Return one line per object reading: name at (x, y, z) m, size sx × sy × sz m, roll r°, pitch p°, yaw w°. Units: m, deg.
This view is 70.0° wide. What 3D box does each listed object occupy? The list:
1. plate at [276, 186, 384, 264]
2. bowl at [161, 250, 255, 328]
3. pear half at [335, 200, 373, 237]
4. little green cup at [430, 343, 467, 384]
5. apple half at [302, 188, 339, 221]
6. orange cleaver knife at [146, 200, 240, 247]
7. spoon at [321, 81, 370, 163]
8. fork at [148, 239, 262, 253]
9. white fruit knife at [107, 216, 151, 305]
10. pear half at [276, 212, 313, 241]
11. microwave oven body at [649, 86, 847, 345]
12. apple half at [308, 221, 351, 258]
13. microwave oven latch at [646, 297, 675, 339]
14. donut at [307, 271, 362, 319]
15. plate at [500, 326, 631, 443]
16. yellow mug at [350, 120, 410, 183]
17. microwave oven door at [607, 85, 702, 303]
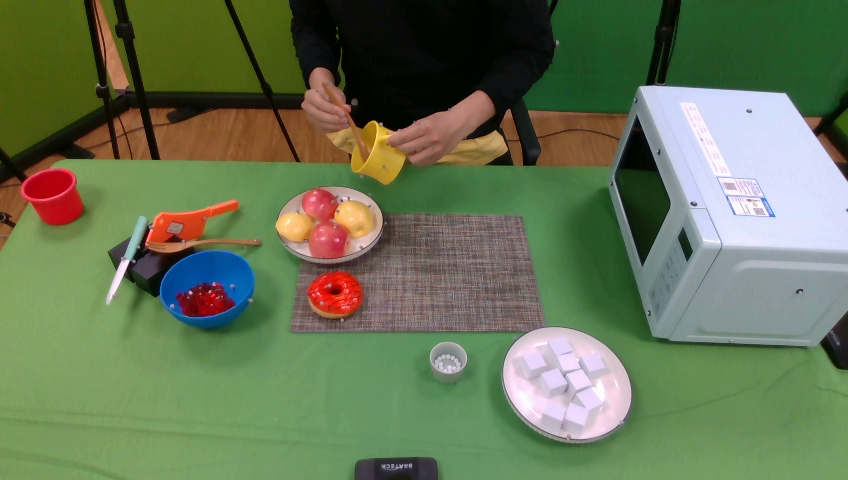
plate at (-0.184, -0.027, 1.195) m, size 0.209 × 0.038 × 0.208 m, roll 2°, pitch 46°, yaw -2°
bowl at (-0.362, 0.097, 1.040) m, size 0.151 × 0.077 × 0.150 m, roll 2°, pitch 45°, yaw -2°
pear half at (-0.146, -0.059, 1.210) m, size 0.076 × 0.056 × 0.109 m, roll -17°, pitch 42°, yaw -25°
little green cup at (0.039, 0.203, 0.993) m, size 0.061 × 0.039 × 0.061 m, roll 2°, pitch 46°, yaw -2°
apple half at (-0.205, -0.076, 1.217) m, size 0.081 × 0.033 × 0.081 m, roll 18°, pitch 47°, yaw -19°
orange cleaver knife at (-0.435, -0.033, 1.157) m, size 0.012 × 0.077 × 0.211 m, roll 31°, pitch 26°, yaw 18°
spoon at (-0.126, -0.196, 1.070) m, size 0.021 × 0.194 × 0.041 m, roll -42°, pitch 29°, yaw -25°
fork at (-0.398, 0.008, 1.117) m, size 0.208 × 0.019 × 0.028 m, roll -5°, pitch 34°, yaw -37°
white fruit knife at (-0.518, 0.032, 1.066) m, size 0.027 × 0.016 × 0.206 m, roll -19°, pitch 45°, yaw 19°
pear half at (-0.244, -0.035, 1.178) m, size 0.070 × 0.031 × 0.088 m, roll 40°, pitch 42°, yaw 1°
microwave oven body at (0.567, -0.053, 1.118) m, size 0.326 × 0.261 × 0.439 m, roll 2°, pitch 45°, yaw -1°
apple half at (-0.180, -0.005, 1.150) m, size 0.074 × 0.053 × 0.080 m, roll 14°, pitch 43°, yaw 9°
microwave oven latch at (0.412, 0.134, 1.061) m, size 0.030 × 0.029 × 0.078 m, roll 4°, pitch 45°, yaw 1°
donut at (-0.157, 0.097, 1.072) m, size 0.099 × 0.048 × 0.098 m, roll 4°, pitch 45°, yaw -4°
plate at (0.224, 0.234, 0.978) m, size 0.208 × 0.039 × 0.206 m, roll 2°, pitch 46°, yaw -2°
yellow mug at (-0.075, -0.163, 1.091) m, size 0.064 × 0.130 × 0.099 m, roll 19°, pitch 69°, yaw -29°
microwave oven door at (0.423, -0.094, 1.140) m, size 0.039 × 0.245 × 0.353 m, roll 2°, pitch 46°, yaw -1°
